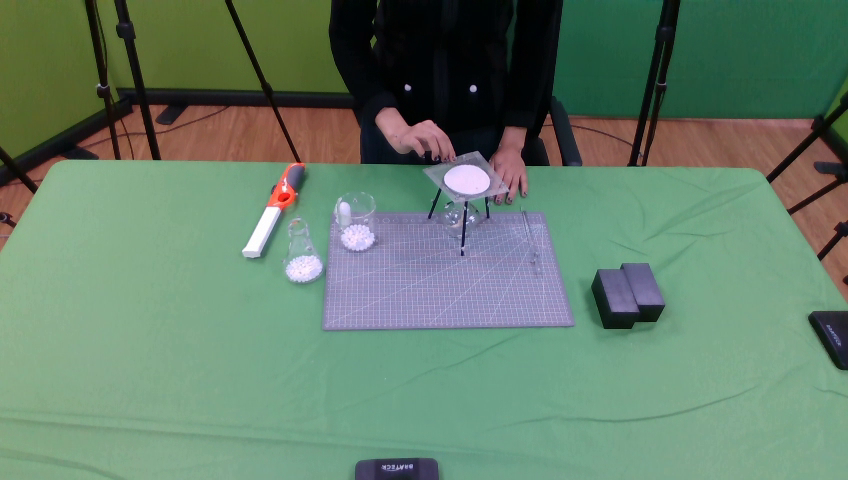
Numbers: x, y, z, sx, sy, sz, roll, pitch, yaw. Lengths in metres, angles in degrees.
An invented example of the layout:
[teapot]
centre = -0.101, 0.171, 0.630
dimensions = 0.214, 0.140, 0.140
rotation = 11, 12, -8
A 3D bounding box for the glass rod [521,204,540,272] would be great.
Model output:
[glass rod]
centre = 0.215, -0.008, 1.230
dimensions = 0.008, 0.008, 0.198
rotation = 0, 43, -3

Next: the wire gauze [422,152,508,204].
[wire gauze]
centre = 0.078, -0.117, 1.143
dimensions = 0.125, 0.011, 0.120
rotation = -18, 49, -21

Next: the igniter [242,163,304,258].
[igniter]
centre = -0.305, -0.069, 1.239
dimensions = 0.057, 0.025, 0.275
rotation = 2, 45, 12

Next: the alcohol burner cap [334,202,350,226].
[alcohol burner cap]
centre = -0.166, -0.055, 1.223
dimensions = 0.034, 0.048, 0.033
rotation = 2, 46, -2

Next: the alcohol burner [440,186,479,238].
[alcohol burner]
centre = 0.072, -0.061, 1.198
dimensions = 0.078, 0.119, 0.077
rotation = 3, 47, -3

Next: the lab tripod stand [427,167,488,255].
[lab tripod stand]
centre = 0.076, -0.068, 1.191
dimensions = 0.148, 0.132, 0.147
rotation = 2, 44, -2

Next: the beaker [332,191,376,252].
[beaker]
centre = -0.133, -0.032, 1.163
dimensions = 0.084, 0.101, 0.073
rotation = -19, 50, -20

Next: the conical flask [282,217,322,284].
[conical flask]
centre = -0.225, 0.016, 1.097
dimensions = 0.075, 0.122, 0.075
rotation = 2, 46, -2
